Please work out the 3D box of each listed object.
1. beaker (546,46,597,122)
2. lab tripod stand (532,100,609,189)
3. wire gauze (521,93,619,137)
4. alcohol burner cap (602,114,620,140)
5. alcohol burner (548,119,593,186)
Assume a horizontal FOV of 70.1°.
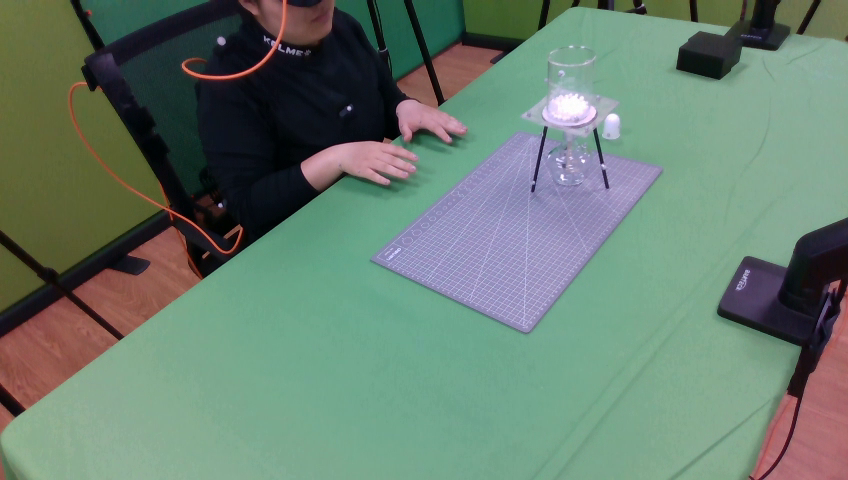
[{"bbox_3d":[0.229,-0.246,0.961,0.083,0.101,0.074,25,49,34],"label":"beaker"},{"bbox_3d":[0.251,-0.161,1.034,0.148,0.132,0.147,-4,39,4],"label":"lab tripod stand"},{"bbox_3d":[0.240,-0.212,0.995,0.124,0.011,0.122,22,46,34],"label":"wire gauze"},{"bbox_3d":[0.359,-0.217,1.157,0.034,0.048,0.033,-7,40,6],"label":"alcohol burner cap"},{"bbox_3d":[0.252,-0.154,1.042,0.078,0.120,0.077,-7,40,7],"label":"alcohol burner"}]
